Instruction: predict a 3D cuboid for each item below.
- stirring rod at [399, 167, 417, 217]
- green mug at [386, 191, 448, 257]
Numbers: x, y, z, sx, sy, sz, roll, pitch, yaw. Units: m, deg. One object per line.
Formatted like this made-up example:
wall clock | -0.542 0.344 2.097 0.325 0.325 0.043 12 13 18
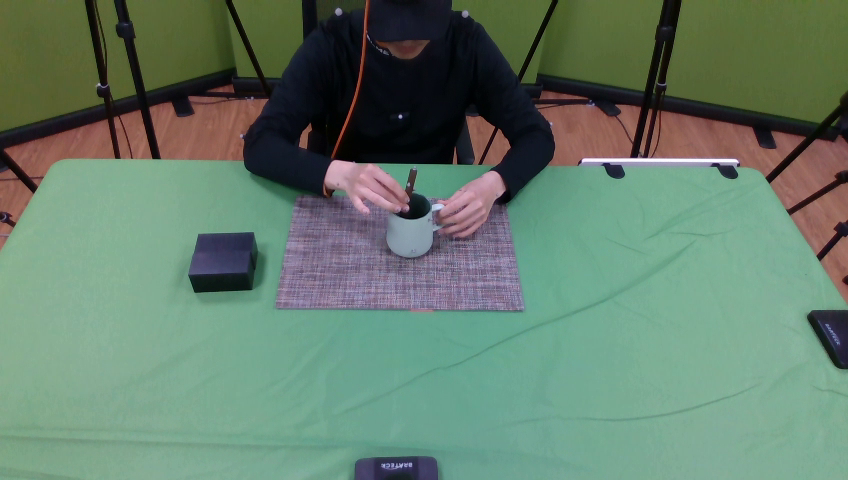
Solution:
stirring rod | -0.036 -0.064 1.122 0.014 0.177 0.006 10 43 -6
green mug | -0.012 -0.034 1.165 0.125 0.105 0.092 -17 49 -19
